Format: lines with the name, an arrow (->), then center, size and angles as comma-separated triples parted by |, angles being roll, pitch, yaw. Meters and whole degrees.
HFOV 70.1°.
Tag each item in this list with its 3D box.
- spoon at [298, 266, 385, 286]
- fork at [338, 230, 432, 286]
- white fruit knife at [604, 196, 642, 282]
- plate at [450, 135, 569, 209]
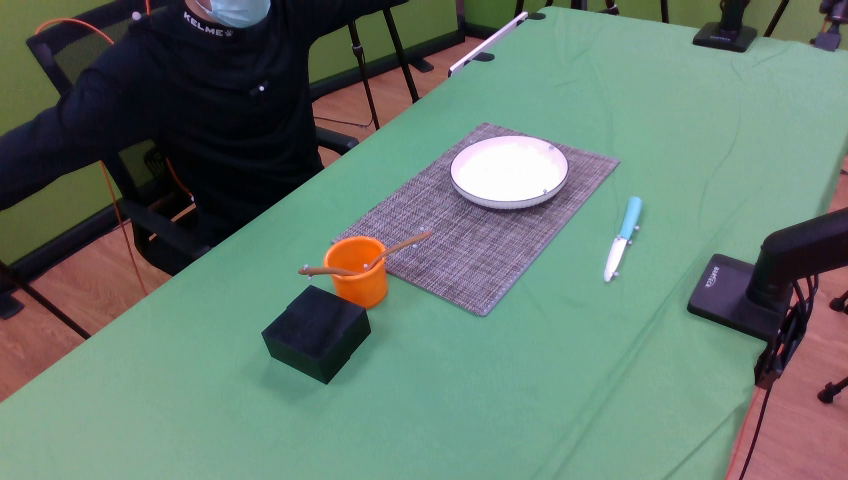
spoon -> -0.112, 0.047, 0.826 | 0.041, 0.195, 0.021 | -25, 71, 23
fork -> -0.058, 0.028, 0.846 | 0.206, 0.018, 0.028 | -34, 5, 43
white fruit knife -> 0.309, -0.004, 0.938 | 0.027, 0.016, 0.207 | -12, 33, 41
plate -> 0.149, -0.117, 1.066 | 0.209, 0.038, 0.208 | -4, 41, 4
